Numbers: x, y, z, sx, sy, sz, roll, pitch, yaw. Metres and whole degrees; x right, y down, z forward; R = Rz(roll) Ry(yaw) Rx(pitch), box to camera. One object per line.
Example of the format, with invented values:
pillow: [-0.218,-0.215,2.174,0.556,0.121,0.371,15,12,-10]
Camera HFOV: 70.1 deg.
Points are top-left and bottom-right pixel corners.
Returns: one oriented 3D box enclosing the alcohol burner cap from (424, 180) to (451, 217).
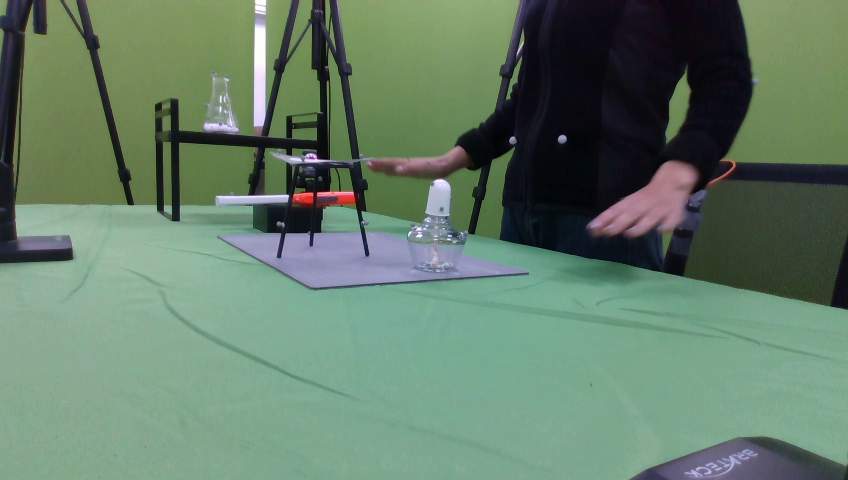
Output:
alcohol burner cap: [0.020,-0.053,0.772,0.034,0.048,0.034,6,14,-1]

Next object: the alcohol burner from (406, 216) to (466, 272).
alcohol burner: [0.017,-0.018,0.777,0.078,0.119,0.078,5,7,0]

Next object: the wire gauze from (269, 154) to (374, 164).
wire gauze: [-0.146,-0.114,0.860,0.122,0.011,0.124,-2,9,-28]

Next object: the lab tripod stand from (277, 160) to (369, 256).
lab tripod stand: [-0.150,-0.046,0.861,0.148,0.131,0.148,3,9,0]

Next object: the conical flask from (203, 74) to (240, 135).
conical flask: [-0.425,-0.284,1.271,0.075,0.122,0.075,3,7,0]

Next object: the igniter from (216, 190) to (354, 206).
igniter: [-0.248,-0.079,1.142,0.278,0.025,0.057,-5,8,-31]
